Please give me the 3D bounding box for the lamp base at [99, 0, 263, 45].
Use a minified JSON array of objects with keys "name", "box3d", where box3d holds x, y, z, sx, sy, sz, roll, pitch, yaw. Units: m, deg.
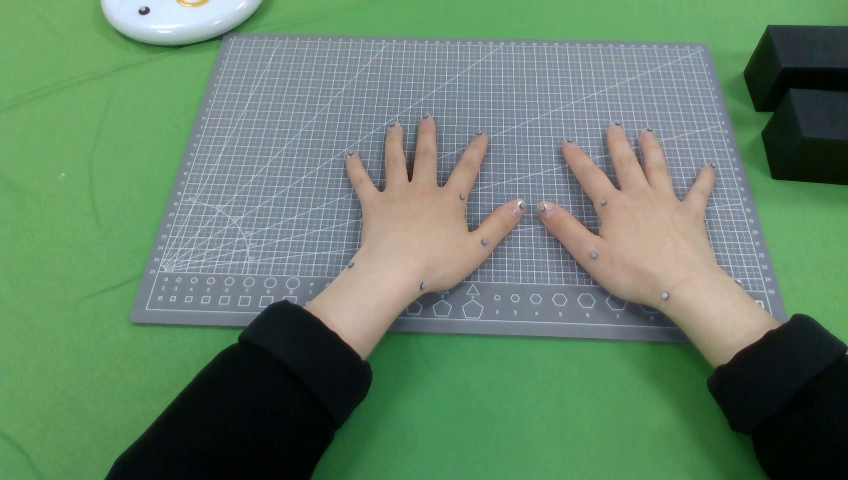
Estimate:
[{"name":"lamp base","box3d":[-0.245,-0.298,0.538,0.160,0.182,0.177,-35,61,-19]}]
